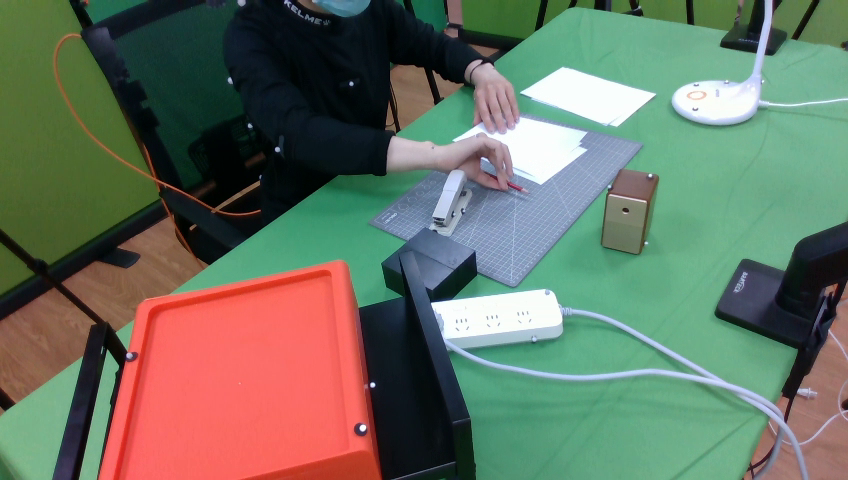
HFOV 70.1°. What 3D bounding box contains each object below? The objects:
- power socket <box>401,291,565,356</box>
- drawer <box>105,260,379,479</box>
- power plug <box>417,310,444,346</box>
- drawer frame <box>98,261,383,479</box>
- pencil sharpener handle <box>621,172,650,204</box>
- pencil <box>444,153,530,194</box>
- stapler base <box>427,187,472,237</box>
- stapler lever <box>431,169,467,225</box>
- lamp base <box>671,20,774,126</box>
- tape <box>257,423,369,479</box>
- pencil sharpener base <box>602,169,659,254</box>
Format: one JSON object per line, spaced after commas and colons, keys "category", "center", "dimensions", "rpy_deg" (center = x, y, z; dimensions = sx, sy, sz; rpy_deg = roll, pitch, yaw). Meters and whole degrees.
{"category": "power socket", "center": [0.080, 0.112, 0.822], "dimensions": [0.227, 0.033, 0.072], "rpy_deg": [-6, 41, 0]}
{"category": "drawer", "center": [-0.150, 0.127, 0.525], "dimensions": [0.195, 0.073, 0.210], "rpy_deg": [-11, 41, -5]}
{"category": "power plug", "center": [0.006, 0.122, 0.785], "dimensions": [0.035, 0.053, 0.072], "rpy_deg": [-1, 40, 9]}
{"category": "drawer frame", "center": [-0.148, 0.129, 0.520], "dimensions": [0.202, 0.083, 0.212], "rpy_deg": [-12, 41, -6]}
{"category": "pencil sharpener handle", "center": [0.328, -0.086, 0.941], "dimensions": [0.036, 0.068, 0.030], "rpy_deg": [30, 49, 8]}
{"category": "pencil", "center": [0.111, -0.119, 1.083], "dimensions": [0.192, 0.012, 0.012], "rpy_deg": [30, 53, 32]}
{"category": "stapler base", "center": [0.045, -0.057, 1.027], "dimensions": [0.041, 0.024, 0.130], "rpy_deg": [10, 45, 20]}
{"category": "stapler lever", "center": [0.043, -0.074, 1.009], "dimensions": [0.026, 0.040, 0.118], "rpy_deg": [10, 45, 20]}
{"category": "lamp base", "center": [0.581, -0.332, 1.154], "dimensions": [0.179, 0.181, 0.160], "rpy_deg": [2, 41, 7]}
{"category": "tape", "center": [-0.121, 0.262, 0.660], "dimensions": [0.117, 0.053, 0.116], "rpy_deg": [-4, 40, 4]}
{"category": "pencil sharpener base", "center": [0.312, -0.044, 0.914], "dimensions": [0.061, 0.107, 0.077], "rpy_deg": [14, 45, 24]}
